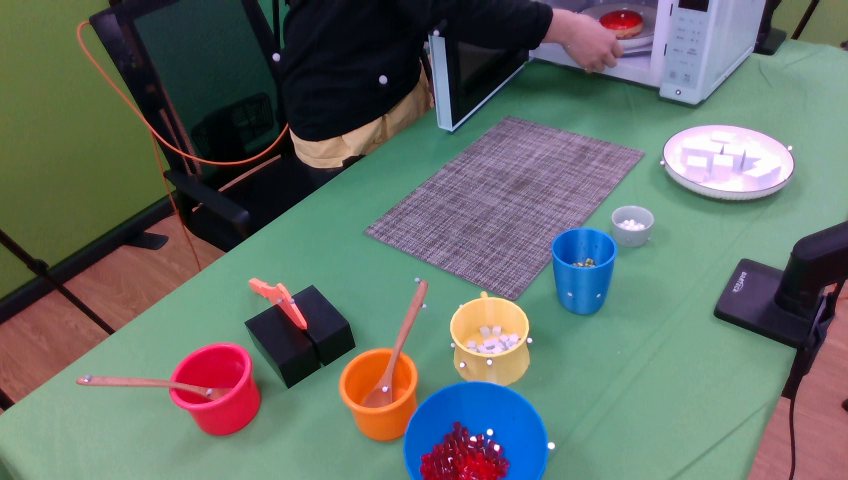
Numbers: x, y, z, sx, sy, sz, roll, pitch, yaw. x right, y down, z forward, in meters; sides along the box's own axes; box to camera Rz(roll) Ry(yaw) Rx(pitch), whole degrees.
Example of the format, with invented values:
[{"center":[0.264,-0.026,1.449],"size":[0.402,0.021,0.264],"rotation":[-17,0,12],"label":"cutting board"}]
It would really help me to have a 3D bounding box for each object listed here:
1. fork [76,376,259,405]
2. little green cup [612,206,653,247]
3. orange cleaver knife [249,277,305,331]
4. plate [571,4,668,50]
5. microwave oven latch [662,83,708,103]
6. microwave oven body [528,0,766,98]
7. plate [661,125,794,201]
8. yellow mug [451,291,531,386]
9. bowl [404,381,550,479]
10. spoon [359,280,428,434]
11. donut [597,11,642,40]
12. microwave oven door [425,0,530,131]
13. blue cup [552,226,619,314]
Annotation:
[{"center":[-0.295,0.176,0.716],"size":[0.209,0.018,0.028],"rotation":[19,27,-37],"label":"fork"},{"center":[0.321,-0.019,0.936],"size":[0.061,0.039,0.061],"rotation":[-4,41,4],"label":"little green cup"},{"center":[-0.210,0.088,0.856],"size":[0.012,0.077,0.210],"rotation":[-28,15,-25],"label":"orange cleaver knife"},{"center":[0.435,-0.475,1.358],"size":[0.209,0.038,0.208],"rotation":[-4,40,4],"label":"plate"},{"center":[0.518,-0.297,1.204],"size":[0.078,0.029,0.030],"rotation":[29,53,36],"label":"microwave oven latch"},{"center":[0.472,-0.513,1.317],"size":[0.438,0.261,0.327],"rotation":[26,51,34],"label":"microwave oven body"},{"center":[0.513,-0.128,1.035],"size":[0.207,0.039,0.206],"rotation":[-4,40,4],"label":"plate"},{"center":[0.085,0.120,0.786],"size":[0.100,0.064,0.130],"rotation":[-7,39,1],"label":"yellow mug"},{"center":[0.058,0.235,0.645],"size":[0.151,0.077,0.150],"rotation":[-4,39,4],"label":"bowl"},{"center":[-0.032,0.138,0.719],"size":[0.041,0.193,0.022],"rotation":[22,4,30],"label":"spoon"},{"center":[0.435,-0.479,1.347],"size":[0.099,0.048,0.098],"rotation":[-5,38,4],"label":"donut"},{"center":[0.124,-0.418,1.250],"size":[0.039,0.245,0.356],"rotation":[19,47,28],"label":"microwave oven door"},{"center":[0.218,0.047,0.825],"size":[0.092,0.101,0.092],"rotation":[-6,40,5],"label":"blue cup"}]
